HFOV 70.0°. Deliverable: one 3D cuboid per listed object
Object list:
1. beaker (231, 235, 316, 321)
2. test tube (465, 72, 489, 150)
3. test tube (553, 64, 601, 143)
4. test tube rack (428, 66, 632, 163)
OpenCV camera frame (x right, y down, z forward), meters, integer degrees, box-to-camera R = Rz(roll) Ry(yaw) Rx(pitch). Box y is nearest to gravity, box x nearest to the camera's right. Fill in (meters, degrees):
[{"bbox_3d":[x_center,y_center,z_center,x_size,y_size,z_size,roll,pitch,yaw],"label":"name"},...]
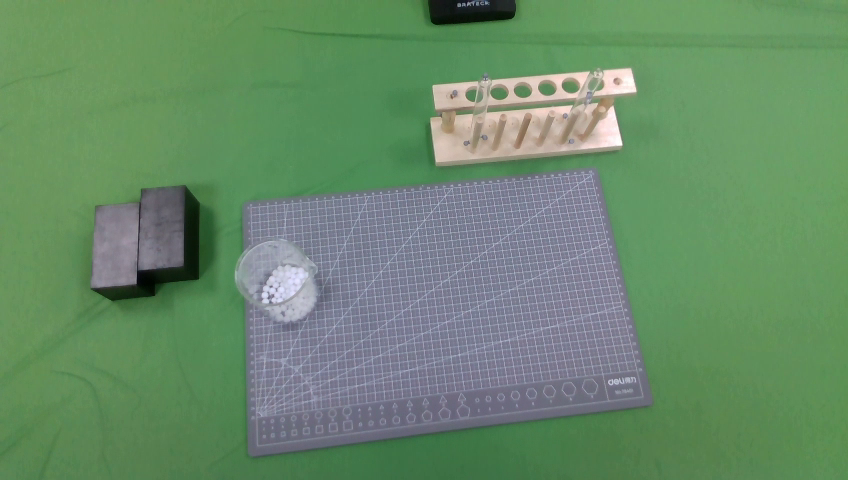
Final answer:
[{"bbox_3d":[-0.157,0.045,0.666,0.084,0.101,0.073,-6,71,-4],"label":"beaker"},{"bbox_3d":[0.061,-0.146,0.703,0.017,0.151,0.017,0,70,-1],"label":"test tube"},{"bbox_3d":[0.177,-0.157,0.711,0.017,0.151,0.017,1,70,-3],"label":"test tube"},{"bbox_3d":[0.129,-0.155,0.756,0.242,0.085,0.066,-6,71,-4],"label":"test tube rack"}]
